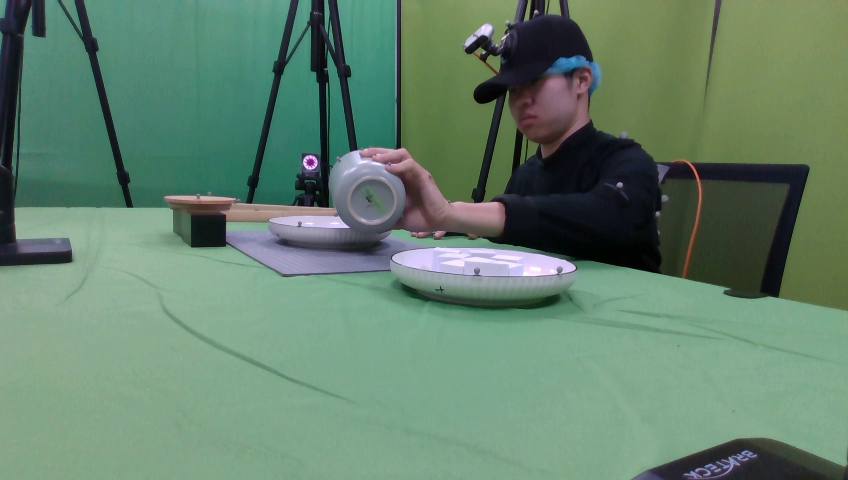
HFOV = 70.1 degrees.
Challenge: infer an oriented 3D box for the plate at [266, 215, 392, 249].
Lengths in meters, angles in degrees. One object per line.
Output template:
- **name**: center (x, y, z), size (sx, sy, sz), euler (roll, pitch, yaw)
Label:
- **plate**: center (-0.159, -0.015, 1.019), size (0.209, 0.038, 0.209), euler (3, 8, 0)

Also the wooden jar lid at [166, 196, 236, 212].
- **wooden jar lid**: center (-0.369, -0.060, 1.001), size (0.108, 0.020, 0.108), euler (3, 6, 0)

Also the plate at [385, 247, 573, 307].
- **plate**: center (0.060, 0.041, 0.678), size (0.208, 0.039, 0.207), euler (3, 7, 0)

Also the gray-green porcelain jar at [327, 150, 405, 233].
- **gray-green porcelain jar**: center (-0.087, -0.071, 0.899), size (0.106, 0.106, 0.126), euler (1, 17, -14)

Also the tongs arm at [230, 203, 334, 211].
- **tongs arm**: center (-0.362, -0.068, 1.406), size (0.386, 0.026, 0.050), euler (2, 8, -14)

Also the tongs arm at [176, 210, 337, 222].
- **tongs arm**: center (-0.337, -0.053, 1.329), size (0.389, 0.028, 0.028), euler (-1, 6, -27)
